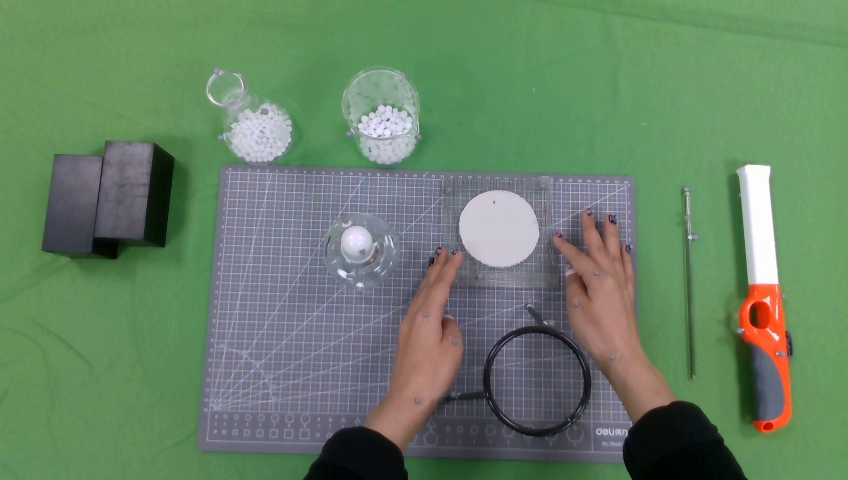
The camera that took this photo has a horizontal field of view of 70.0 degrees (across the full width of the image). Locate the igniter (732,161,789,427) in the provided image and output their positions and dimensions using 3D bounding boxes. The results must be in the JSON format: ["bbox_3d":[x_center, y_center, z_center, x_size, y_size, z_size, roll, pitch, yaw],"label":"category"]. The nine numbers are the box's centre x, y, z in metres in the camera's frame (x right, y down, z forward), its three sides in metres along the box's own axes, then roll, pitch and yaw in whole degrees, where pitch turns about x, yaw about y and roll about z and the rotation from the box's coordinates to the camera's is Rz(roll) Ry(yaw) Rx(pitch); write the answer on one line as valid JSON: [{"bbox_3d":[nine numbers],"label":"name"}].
[{"bbox_3d":[0.350,0.053,0.634,0.057,0.025,0.275,2,82,-11],"label":"igniter"}]

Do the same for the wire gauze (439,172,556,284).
[{"bbox_3d":[0.078,-0.014,0.648,0.125,0.011,0.121,0,80,-3],"label":"wire gauze"}]

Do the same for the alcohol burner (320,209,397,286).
[{"bbox_3d":[-0.066,0.005,0.591,0.078,0.119,0.077,0,82,-1],"label":"alcohol burner"}]

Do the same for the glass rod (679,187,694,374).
[{"bbox_3d":[0.279,0.041,0.644,0.008,0.008,0.199,1,81,-1],"label":"glass rod"}]

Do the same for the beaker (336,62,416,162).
[{"bbox_3d":[-0.042,-0.124,0.621,0.084,0.100,0.074,38,83,5],"label":"beaker"}]

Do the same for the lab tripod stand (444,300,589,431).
[{"bbox_3d":[0.089,0.126,0.565,0.148,0.132,0.148,0,83,0],"label":"lab tripod stand"}]

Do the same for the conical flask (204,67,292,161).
[{"bbox_3d":[-0.181,-0.130,0.609,0.075,0.122,0.075,0,81,0],"label":"conical flask"}]

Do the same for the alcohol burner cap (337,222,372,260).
[{"bbox_3d":[-0.064,-0.001,0.556,0.034,0.048,0.033,1,82,-6],"label":"alcohol burner cap"}]
